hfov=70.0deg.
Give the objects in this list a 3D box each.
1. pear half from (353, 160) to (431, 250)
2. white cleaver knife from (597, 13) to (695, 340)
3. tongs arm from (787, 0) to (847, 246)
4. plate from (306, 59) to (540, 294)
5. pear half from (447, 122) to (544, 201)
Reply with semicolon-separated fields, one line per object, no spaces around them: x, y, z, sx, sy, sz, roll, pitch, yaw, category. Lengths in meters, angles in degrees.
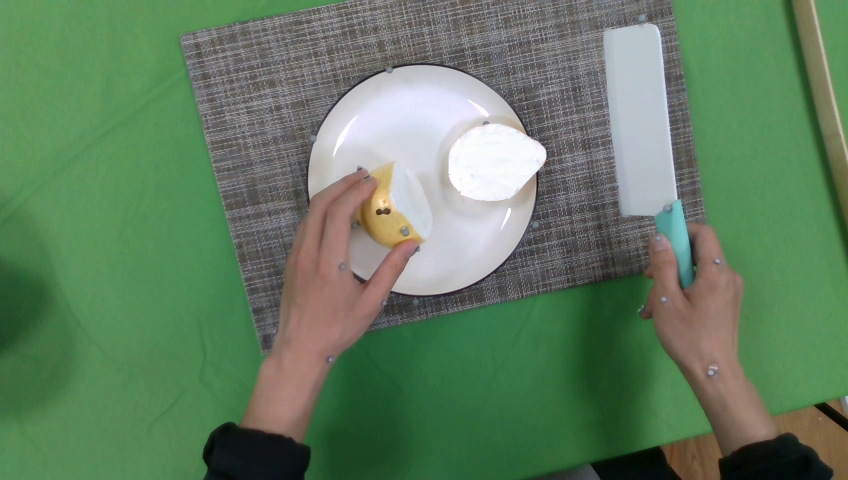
-0.035;-0.025;0.508;0.056;0.110;0.076;-27;88;13;pear half
0.196;-0.048;0.533;0.021;0.065;0.287;-17;102;-32;white cleaver knife
0.394;-0.131;0.586;0.028;0.027;0.388;-20;98;-3;tongs arm
0.000;-0.056;0.553;0.208;0.039;0.208;0;97;-4;plate
0.065;-0.072;0.551;0.088;0.031;0.070;-6;95;14;pear half
